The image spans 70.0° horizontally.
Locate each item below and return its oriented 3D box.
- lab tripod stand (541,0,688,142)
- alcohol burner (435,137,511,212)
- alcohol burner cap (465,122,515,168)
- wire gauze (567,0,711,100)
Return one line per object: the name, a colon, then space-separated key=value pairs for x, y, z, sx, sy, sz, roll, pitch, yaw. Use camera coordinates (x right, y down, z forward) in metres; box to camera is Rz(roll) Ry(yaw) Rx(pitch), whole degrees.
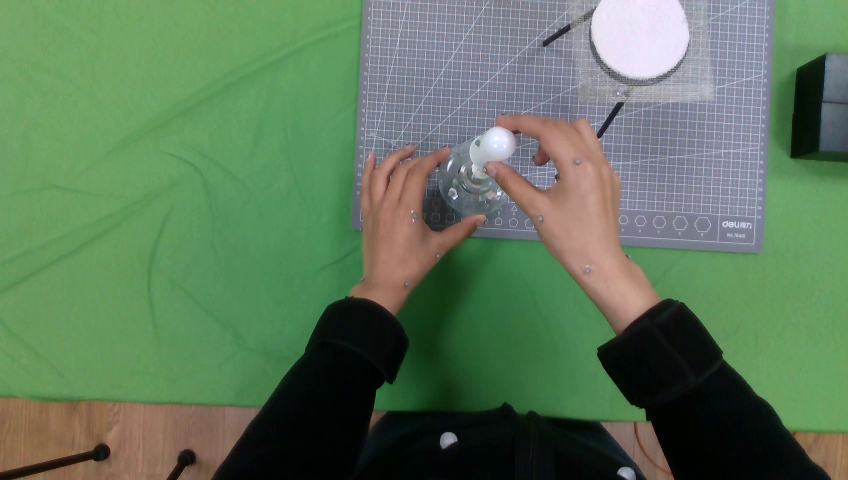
lab tripod stand: x=0.190 y=-0.183 z=0.596 sx=0.148 sy=0.131 sz=0.148 roll=0 pitch=87 yaw=-1
alcohol burner: x=0.051 y=-0.068 z=0.603 sx=0.078 sy=0.119 sz=0.078 roll=0 pitch=87 yaw=-2
alcohol burner cap: x=0.056 y=-0.080 z=0.497 sx=0.034 sy=0.048 sz=0.034 roll=2 pitch=82 yaw=-14
wire gauze: x=0.189 y=-0.182 z=0.529 sx=0.125 sy=0.011 sz=0.121 roll=-3 pitch=90 yaw=-2
